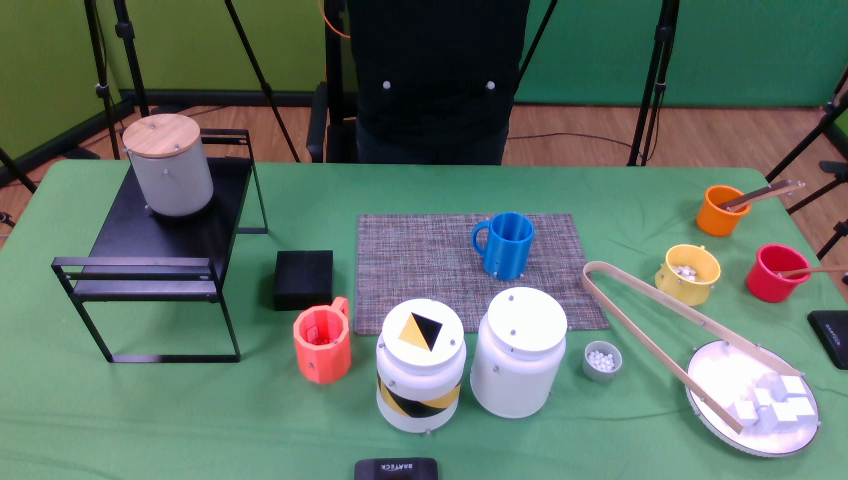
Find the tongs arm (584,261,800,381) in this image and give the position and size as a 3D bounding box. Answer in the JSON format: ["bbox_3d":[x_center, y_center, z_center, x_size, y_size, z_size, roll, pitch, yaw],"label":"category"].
[{"bbox_3d":[0.452,0.137,1.064,0.051,0.027,0.382,-34,50,-27],"label":"tongs arm"}]

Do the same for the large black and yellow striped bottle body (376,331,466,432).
[{"bbox_3d":[-0.007,0.189,0.905,0.131,0.185,0.130,2,46,-2],"label":"large black and yellow striped bottle body"}]

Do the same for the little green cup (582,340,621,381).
[{"bbox_3d":[0.295,0.203,1.015,0.061,0.039,0.061,2,45,-2],"label":"little green cup"}]

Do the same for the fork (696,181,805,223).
[{"bbox_3d":[0.659,-0.077,1.232,0.207,0.019,0.028,-26,35,34],"label":"fork"}]

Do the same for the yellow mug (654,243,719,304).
[{"bbox_3d":[0.504,0.054,1.154,0.099,0.064,0.130,28,50,22],"label":"yellow mug"}]

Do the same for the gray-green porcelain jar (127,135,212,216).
[{"bbox_3d":[-0.394,-0.109,0.949,0.106,0.127,0.105,3,46,-3],"label":"gray-green porcelain jar"}]

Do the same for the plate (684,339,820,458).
[{"bbox_3d":[0.523,0.256,0.982,0.208,0.039,0.206,2,46,-2],"label":"plate"}]

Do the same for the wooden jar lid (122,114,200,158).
[{"bbox_3d":[-0.390,-0.152,0.904,0.108,0.021,0.107,3,45,-3],"label":"wooden jar lid"}]

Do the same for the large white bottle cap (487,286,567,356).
[{"bbox_3d":[0.147,0.114,0.869,0.115,0.018,0.114,3,46,-3],"label":"large white bottle cap"}]

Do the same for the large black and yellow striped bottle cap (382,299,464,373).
[{"bbox_3d":[-0.002,0.132,0.843,0.115,0.019,0.114,2,46,-1],"label":"large black and yellow striped bottle cap"}]

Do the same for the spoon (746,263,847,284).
[{"bbox_3d":[0.696,0.057,1.113,0.193,0.022,0.041,-16,28,48],"label":"spoon"}]

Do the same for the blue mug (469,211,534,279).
[{"bbox_3d":[0.141,0.005,1.140,0.116,0.106,0.082,18,48,13],"label":"blue mug"}]

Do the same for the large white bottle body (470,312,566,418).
[{"bbox_3d":[0.143,0.173,0.930,0.131,0.185,0.130,2,46,-2],"label":"large white bottle body"}]

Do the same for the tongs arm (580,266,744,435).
[{"bbox_3d":[0.384,0.173,1.028,0.028,0.028,0.385,-25,46,-15],"label":"tongs arm"}]

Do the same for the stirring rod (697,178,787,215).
[{"bbox_3d":[0.650,-0.088,1.246,0.006,0.176,0.014,29,50,-38],"label":"stirring rod"}]

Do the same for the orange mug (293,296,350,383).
[{"bbox_3d":[-0.157,0.154,0.985,0.083,0.101,0.125,17,52,11],"label":"orange mug"}]
